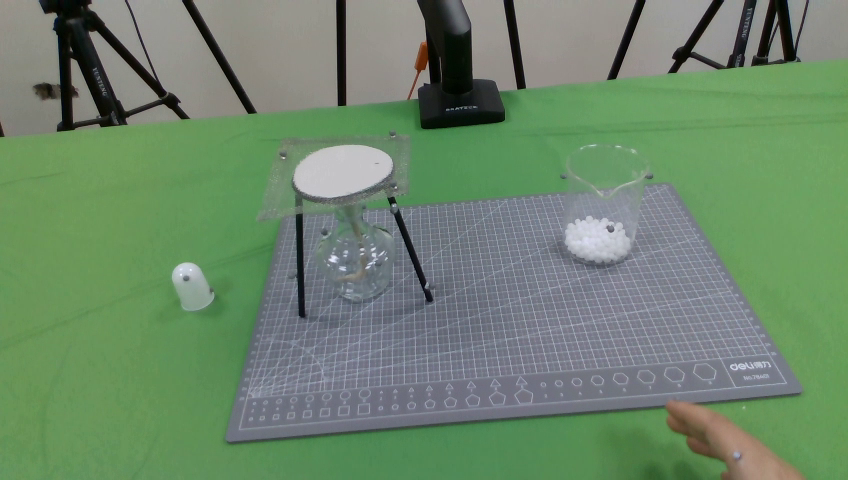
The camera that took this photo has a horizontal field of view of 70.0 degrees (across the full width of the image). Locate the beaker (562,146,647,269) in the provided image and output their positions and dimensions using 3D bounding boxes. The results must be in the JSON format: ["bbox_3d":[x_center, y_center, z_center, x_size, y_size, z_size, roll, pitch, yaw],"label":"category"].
[{"bbox_3d":[0.171,-0.027,0.587,0.074,0.101,0.083,4,40,13],"label":"beaker"}]

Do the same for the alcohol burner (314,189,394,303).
[{"bbox_3d":[-0.067,0.002,0.567,0.078,0.120,0.077,-2,40,2],"label":"alcohol burner"}]

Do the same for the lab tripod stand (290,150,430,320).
[{"bbox_3d":[-0.067,-0.007,0.562,0.148,0.133,0.147,-5,37,4],"label":"lab tripod stand"}]

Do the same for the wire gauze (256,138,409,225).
[{"bbox_3d":[-0.073,-0.057,0.517,0.121,0.011,0.124,-5,37,2],"label":"wire gauze"}]

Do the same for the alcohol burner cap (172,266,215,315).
[{"bbox_3d":[-0.227,0.047,0.593,0.034,0.048,0.033,-3,39,3],"label":"alcohol burner cap"}]
